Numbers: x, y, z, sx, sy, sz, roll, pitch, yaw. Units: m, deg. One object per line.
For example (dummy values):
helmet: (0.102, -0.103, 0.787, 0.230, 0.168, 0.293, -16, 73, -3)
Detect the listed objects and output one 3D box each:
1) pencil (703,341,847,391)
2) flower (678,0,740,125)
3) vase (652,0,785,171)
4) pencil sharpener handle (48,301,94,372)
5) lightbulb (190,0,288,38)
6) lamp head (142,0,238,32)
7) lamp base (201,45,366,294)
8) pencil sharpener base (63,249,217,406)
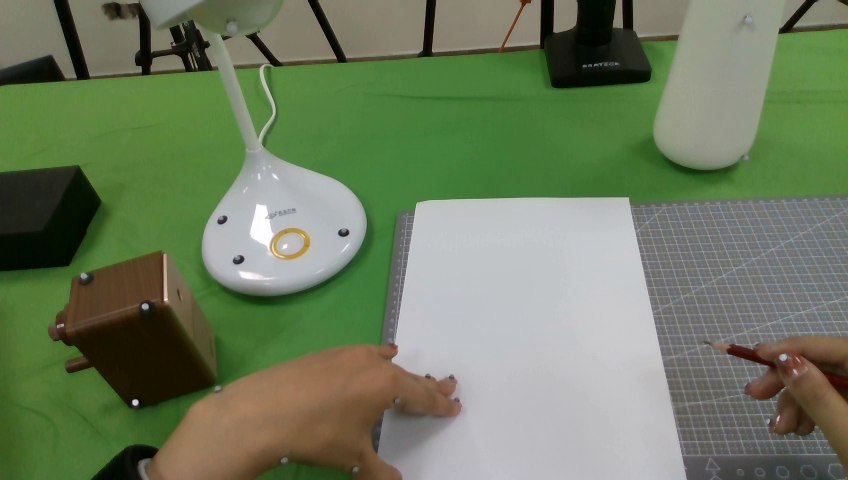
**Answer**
pencil: (0.241, 0.081, 0.328, 0.012, 0.012, 0.192, -35, 25, -25)
flower: (0.263, -0.207, 0.502, 0.043, 0.364, 0.038, 40, 75, 22)
vase: (0.278, -0.164, 0.574, 0.098, 0.202, 0.097, -4, 44, 5)
pencil sharpener handle: (-0.265, 0.076, 0.452, 0.031, 0.068, 0.035, -17, 49, -9)
lightbulb: (-0.110, -0.163, 0.320, 0.059, 0.108, 0.059, -14, 22, 6)
lamp head: (-0.120, -0.187, 0.316, 0.112, 0.123, 0.111, -25, 19, 9)
lamp base: (-0.150, -0.071, 0.549, 0.161, 0.182, 0.177, -24, 45, -16)
pencil sharpener base: (-0.215, 0.071, 0.468, 0.077, 0.108, 0.060, -17, 46, -9)
